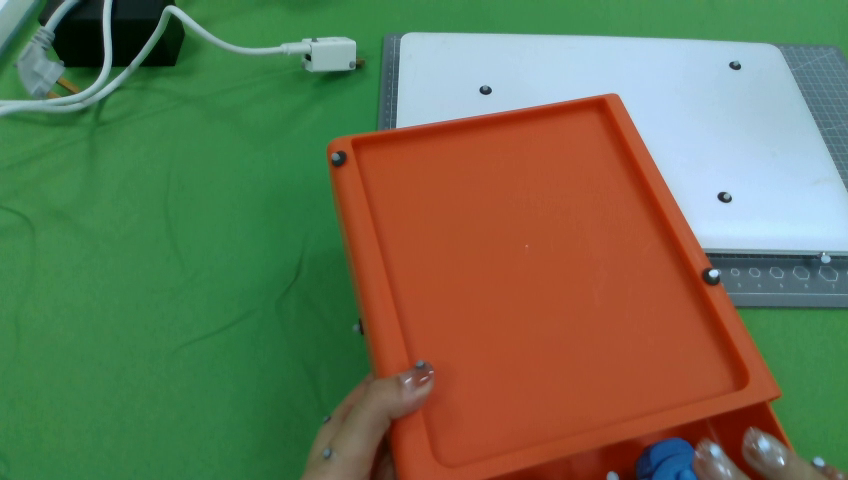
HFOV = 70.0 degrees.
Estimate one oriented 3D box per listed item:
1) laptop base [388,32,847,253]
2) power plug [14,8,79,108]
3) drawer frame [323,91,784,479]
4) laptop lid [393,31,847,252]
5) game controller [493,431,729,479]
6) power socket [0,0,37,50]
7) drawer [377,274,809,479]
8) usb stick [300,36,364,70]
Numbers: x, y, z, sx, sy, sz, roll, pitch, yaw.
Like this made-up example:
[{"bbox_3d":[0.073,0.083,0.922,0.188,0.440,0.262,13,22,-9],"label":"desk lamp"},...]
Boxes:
[{"bbox_3d":[0.151,-0.086,0.508,0.354,0.023,0.233,1,58,-2],"label":"laptop base"},{"bbox_3d":[-0.306,-0.149,0.506,0.072,0.053,0.035,-52,37,0],"label":"power plug"},{"bbox_3d":[0.059,0.027,0.364,0.202,0.083,0.211,-12,61,-11],"label":"drawer frame"},{"bbox_3d":[0.151,-0.092,0.497,0.357,0.013,0.239,3,57,0],"label":"laptop lid"},{"bbox_3d":[0.095,0.158,0.307,0.155,0.052,0.096,-10,60,-12],"label":"game controller"},{"bbox_3d":[-0.421,-0.220,0.570,0.072,0.033,0.224,5,55,-1],"label":"power socket"},{"bbox_3d":[0.085,0.113,0.320,0.195,0.074,0.209,-11,61,-11],"label":"drawer"},{"bbox_3d":[-0.081,-0.169,0.546,0.059,0.027,0.021,-14,32,-37],"label":"usb stick"}]
